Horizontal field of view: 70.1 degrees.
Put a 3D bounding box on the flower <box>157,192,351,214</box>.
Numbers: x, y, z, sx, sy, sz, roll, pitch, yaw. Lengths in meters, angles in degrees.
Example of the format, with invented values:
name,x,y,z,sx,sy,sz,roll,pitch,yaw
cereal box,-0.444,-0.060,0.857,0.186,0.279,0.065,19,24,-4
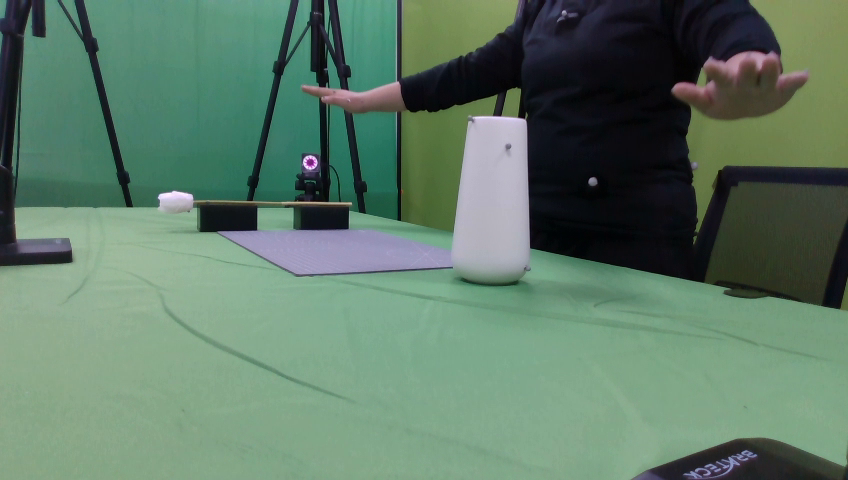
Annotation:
name,x,y,z,sx,sy,sz,roll,pitch,yaw
flower,-0.314,-0.076,1.160,0.363,0.038,0.044,-4,-22,-24

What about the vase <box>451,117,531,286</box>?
name,x,y,z,sx,sy,sz,roll,pitch,yaw
vase,0.083,-0.047,0.737,0.098,0.200,0.098,1,6,0
